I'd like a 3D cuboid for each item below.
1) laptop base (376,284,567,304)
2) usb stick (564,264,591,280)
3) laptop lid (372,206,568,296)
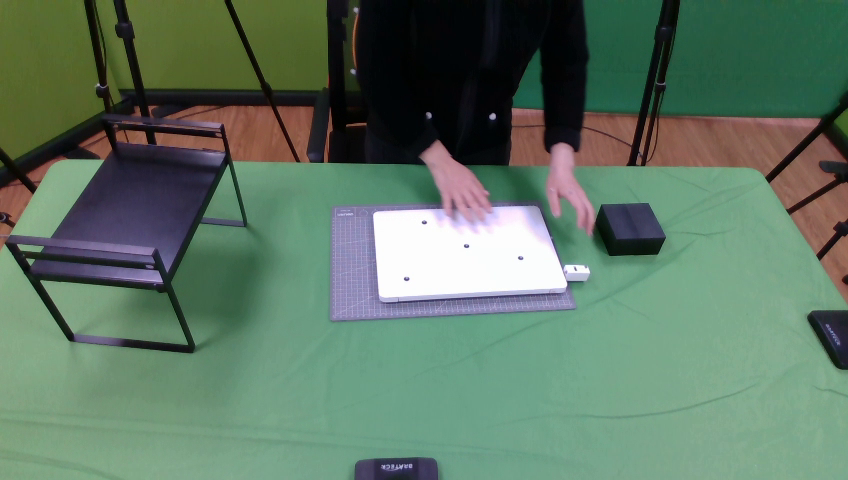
[{"bbox_3d":[0.081,0.024,1.181,0.355,0.023,0.234,-3,43,-6],"label":"laptop base"},{"bbox_3d":[0.282,0.061,1.143,0.059,0.027,0.021,1,51,-5],"label":"usb stick"},{"bbox_3d":[0.081,0.014,1.174,0.357,0.013,0.240,-1,44,-5],"label":"laptop lid"}]
